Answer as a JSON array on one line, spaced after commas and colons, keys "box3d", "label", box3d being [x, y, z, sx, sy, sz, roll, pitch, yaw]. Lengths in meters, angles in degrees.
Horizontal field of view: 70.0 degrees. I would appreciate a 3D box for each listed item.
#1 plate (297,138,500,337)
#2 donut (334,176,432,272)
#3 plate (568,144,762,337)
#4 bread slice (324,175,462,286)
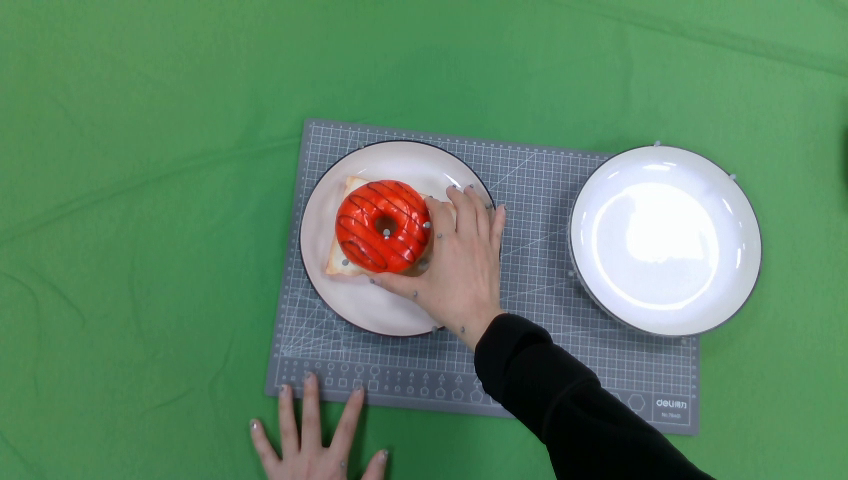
[{"box3d": [-0.026, -0.003, 0.634, 0.209, 0.038, 0.208, 1, 79, -4], "label": "plate"}, {"box3d": [-0.041, -0.017, 0.607, 0.099, 0.048, 0.098, 0, 79, -2], "label": "donut"}, {"box3d": [0.255, 0.001, 0.654, 0.208, 0.039, 0.206, 1, 79, -4], "label": "plate"}, {"box3d": [-0.028, -0.007, 0.637, 0.134, 0.018, 0.106, 10, 78, -1], "label": "bread slice"}]
